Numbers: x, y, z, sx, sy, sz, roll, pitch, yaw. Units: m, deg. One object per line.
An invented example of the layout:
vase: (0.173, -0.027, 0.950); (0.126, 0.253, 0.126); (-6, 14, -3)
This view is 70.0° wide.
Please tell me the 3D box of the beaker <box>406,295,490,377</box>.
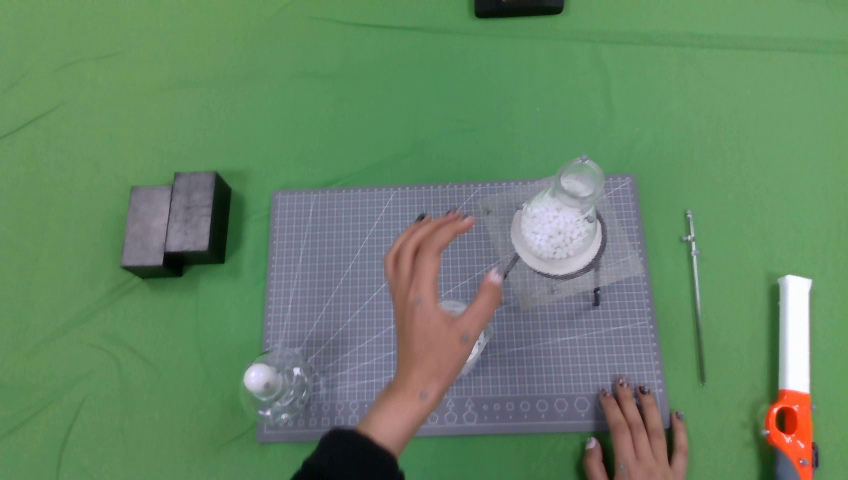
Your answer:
beaker: (0.026, 0.105, 0.642); (0.084, 0.101, 0.073); (-8, 72, 0)

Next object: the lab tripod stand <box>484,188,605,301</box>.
lab tripod stand: (0.131, 0.014, 0.648); (0.148, 0.132, 0.147); (-1, 73, 3)

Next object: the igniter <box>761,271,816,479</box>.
igniter: (0.388, 0.168, 0.644); (0.057, 0.025, 0.275); (13, 73, -4)

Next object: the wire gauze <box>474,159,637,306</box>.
wire gauze: (0.126, -0.008, 0.586); (0.125, 0.011, 0.120); (-17, 75, -5)

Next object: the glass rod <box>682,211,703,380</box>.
glass rod: (0.306, 0.059, 0.693); (0.008, 0.008, 0.198); (2, 72, 3)

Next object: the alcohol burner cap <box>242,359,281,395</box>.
alcohol burner cap: (-0.161, 0.133, 0.596); (0.034, 0.048, 0.033); (1, 70, -2)

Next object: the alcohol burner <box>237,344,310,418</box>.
alcohol burner: (-0.161, 0.145, 0.630); (0.078, 0.120, 0.077); (0, 73, 1)

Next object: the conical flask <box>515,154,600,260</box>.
conical flask: (0.123, -0.032, 0.532); (0.075, 0.122, 0.075); (-1, 74, 3)
